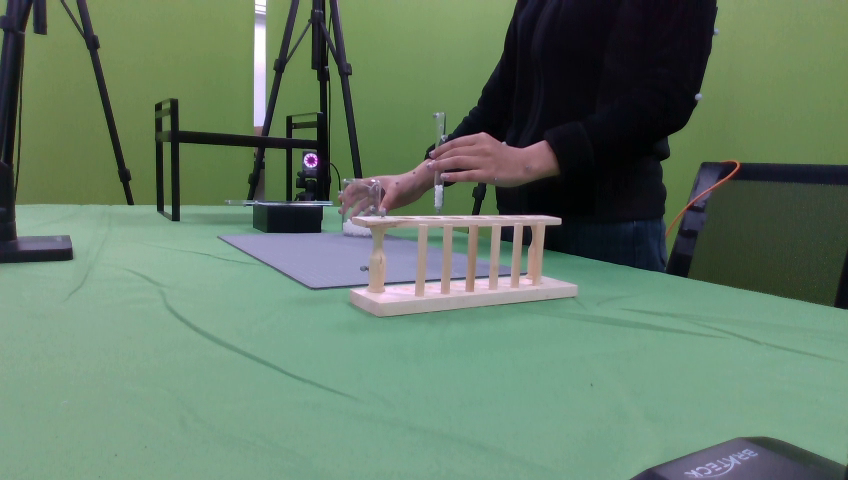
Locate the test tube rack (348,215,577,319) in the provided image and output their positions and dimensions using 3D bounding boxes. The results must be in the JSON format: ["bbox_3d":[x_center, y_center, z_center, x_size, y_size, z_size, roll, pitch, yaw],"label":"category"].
[{"bbox_3d":[0.048,0.021,0.619,0.244,0.085,0.066,-2,9,-31],"label":"test tube rack"}]

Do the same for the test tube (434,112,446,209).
[{"bbox_3d":[0.024,-0.123,0.940,0.017,0.150,0.017,2,3,0],"label":"test tube"}]

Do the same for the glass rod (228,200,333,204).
[{"bbox_3d":[-0.268,-0.071,1.143,0.201,0.008,0.008,-1,8,-29],"label":"glass rod"}]

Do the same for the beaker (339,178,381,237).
[{"bbox_3d":[-0.114,-0.058,1.091,0.074,0.100,0.083,-4,12,-28],"label":"beaker"}]
